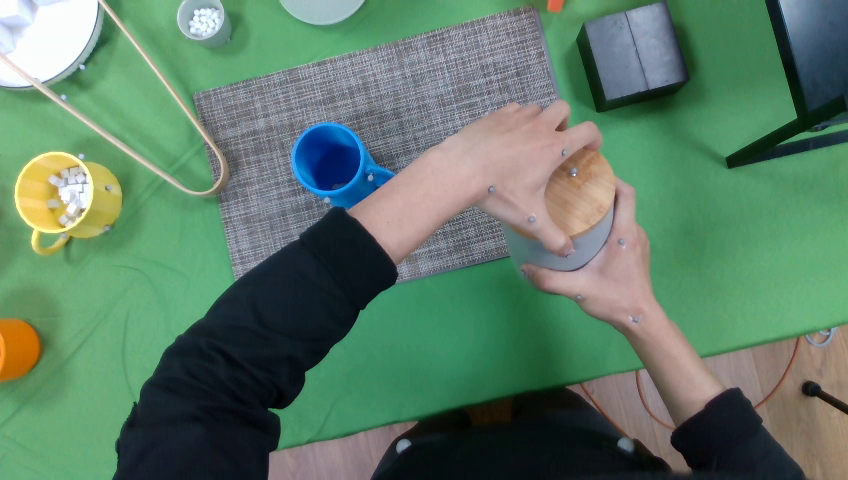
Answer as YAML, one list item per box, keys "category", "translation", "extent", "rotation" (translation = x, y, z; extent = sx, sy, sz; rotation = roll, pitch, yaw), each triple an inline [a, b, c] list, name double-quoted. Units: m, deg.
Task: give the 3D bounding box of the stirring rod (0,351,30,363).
- category: "stirring rod"
  translation: [-0.566, 0.139, 0.709]
  extent: [0.006, 0.177, 0.014]
  rotation: [-27, 65, 44]

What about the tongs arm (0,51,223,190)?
- category: "tongs arm"
  translation: [-0.423, -0.177, 0.755]
  extent: [0.385, 0.026, 0.050]
  rotation: [38, 86, -3]

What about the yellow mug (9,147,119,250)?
- category: "yellow mug"
  translation: [-0.452, -0.047, 0.754]
  extent: [0.100, 0.064, 0.131]
  rotation: [24, 89, 3]

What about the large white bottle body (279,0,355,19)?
- category: "large white bottle body"
  translation: [-0.142, -0.355, 0.698]
  extent: [0.130, 0.185, 0.130]
  rotation: [0, 86, 3]

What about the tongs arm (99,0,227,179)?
- category: "tongs arm"
  translation: [-0.366, -0.239, 0.759]
  extent: [0.028, 0.028, 0.388]
  rotation: [-38, 92, -8]

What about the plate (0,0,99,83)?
- category: "plate"
  translation: [-0.519, -0.303, 0.787]
  extent: [0.207, 0.039, 0.207]
  rotation: [0, 87, 3]

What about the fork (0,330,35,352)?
- category: "fork"
  translation: [-0.579, 0.124, 0.707]
  extent: [0.209, 0.018, 0.028]
  rotation: [3, 84, -40]

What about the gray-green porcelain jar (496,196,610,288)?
- category: "gray-green porcelain jar"
  translation: [0.129, -0.018, 0.598]
  extent: [0.105, 0.128, 0.105]
  rotation: [-7, 59, 13]

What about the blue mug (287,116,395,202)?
- category: "blue mug"
  translation: [-0.091, -0.089, 0.716]
  extent: [0.116, 0.106, 0.082]
  rotation: [12, 86, 4]

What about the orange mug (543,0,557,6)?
- category: "orange mug"
  translation: [0.163, -0.354, 0.726]
  extent: [0.083, 0.101, 0.126]
  rotation: [9, 83, 4]

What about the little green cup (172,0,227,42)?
- category: "little green cup"
  translation: [-0.284, -0.285, 0.774]
  extent: [0.061, 0.038, 0.061]
  rotation: [0, 87, 2]

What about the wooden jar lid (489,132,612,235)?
- category: "wooden jar lid"
  translation: [0.113, -0.049, 0.546]
  extent: [0.108, 0.021, 0.107]
  rotation: [-6, 61, 11]
